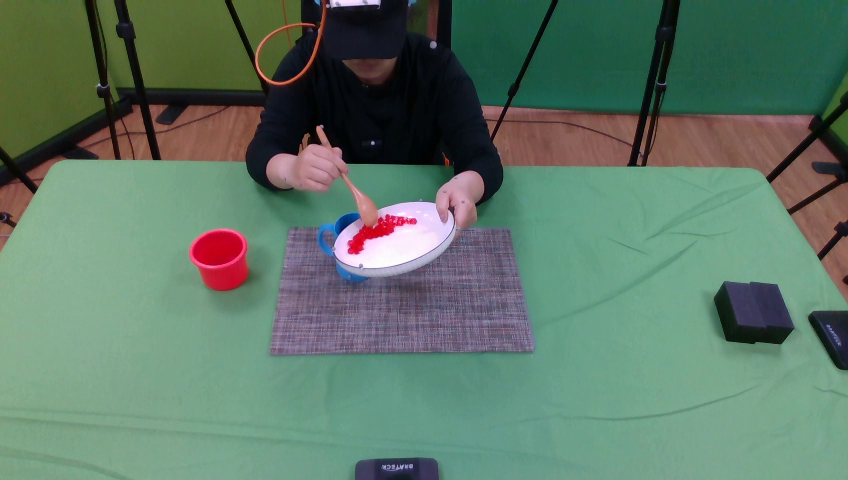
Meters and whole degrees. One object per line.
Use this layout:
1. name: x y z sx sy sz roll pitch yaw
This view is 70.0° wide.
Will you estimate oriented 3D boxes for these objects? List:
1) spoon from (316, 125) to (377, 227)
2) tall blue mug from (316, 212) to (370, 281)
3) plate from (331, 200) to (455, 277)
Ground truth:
1. spoon: -0.135 -0.108 1.037 0.041 0.021 0.194 -40 101 -41
2. tall blue mug: -0.141 0.014 1.109 0.107 0.108 0.077 -4 48 -9
3. plate: -0.048 0.001 0.998 0.207 0.039 0.206 -11 30 7
